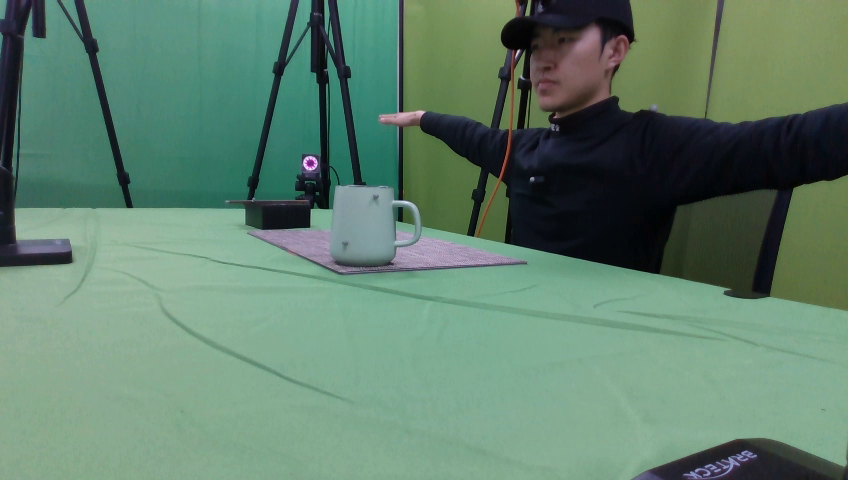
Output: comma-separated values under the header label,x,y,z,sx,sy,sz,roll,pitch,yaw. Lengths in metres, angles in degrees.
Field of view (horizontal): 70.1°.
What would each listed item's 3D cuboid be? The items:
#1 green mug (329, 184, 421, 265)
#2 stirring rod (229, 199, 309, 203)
label,x,y,z,sx,sy,sz,roll,pitch,yaw
green mug,-0.066,-0.022,0.817,0.125,0.105,0.092,3,7,8
stirring rod,-0.316,-0.080,1.246,0.177,0.006,0.014,-4,6,-42
